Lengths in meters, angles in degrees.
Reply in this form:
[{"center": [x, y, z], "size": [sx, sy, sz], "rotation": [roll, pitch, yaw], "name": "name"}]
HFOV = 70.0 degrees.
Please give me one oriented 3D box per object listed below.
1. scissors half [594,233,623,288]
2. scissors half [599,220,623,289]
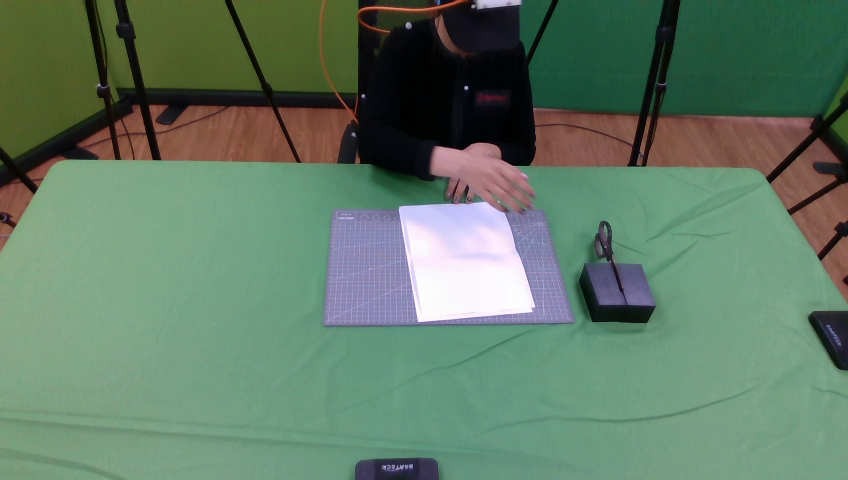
[{"center": [0.351, 0.040, 1.154], "size": [0.013, 0.040, 0.174], "rotation": [8, 29, -7], "name": "scissors half"}, {"center": [0.354, 0.024, 1.142], "size": [0.013, 0.040, 0.174], "rotation": [4, 47, -4], "name": "scissors half"}]
